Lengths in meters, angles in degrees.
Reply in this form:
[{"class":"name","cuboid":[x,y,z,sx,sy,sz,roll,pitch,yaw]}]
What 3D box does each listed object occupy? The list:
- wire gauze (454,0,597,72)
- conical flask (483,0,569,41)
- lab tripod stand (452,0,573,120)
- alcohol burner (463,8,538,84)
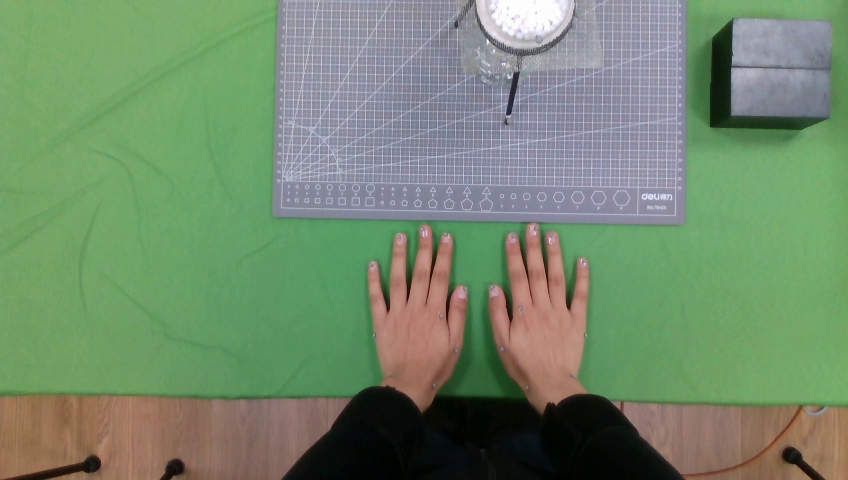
[{"class":"wire gauze","cuboid":[0.089,-0.211,0.537,0.125,0.011,0.121,-4,90,-2]},{"class":"conical flask","cuboid":[0.087,-0.214,0.477,0.075,0.122,0.075,0,87,1]},{"class":"lab tripod stand","cuboid":[0.093,-0.209,0.602,0.148,0.131,0.148,0,86,1]},{"class":"alcohol burner","cuboid":[0.079,-0.202,0.612,0.078,0.119,0.078,0,87,0]}]
